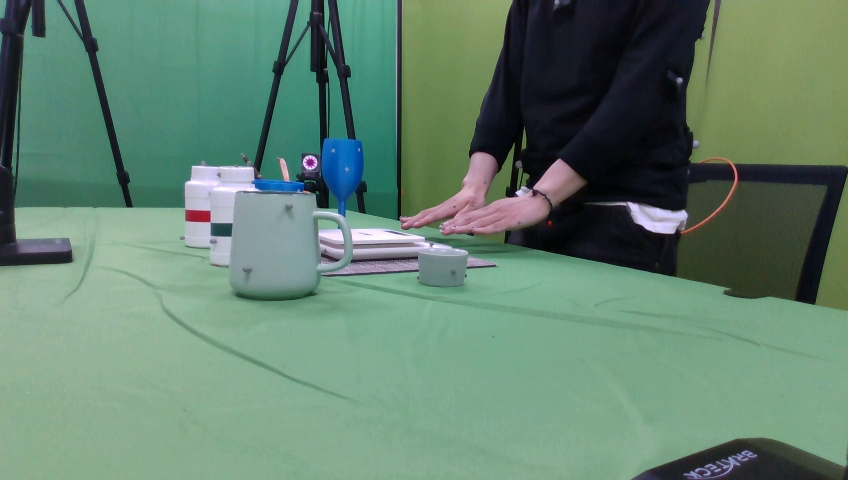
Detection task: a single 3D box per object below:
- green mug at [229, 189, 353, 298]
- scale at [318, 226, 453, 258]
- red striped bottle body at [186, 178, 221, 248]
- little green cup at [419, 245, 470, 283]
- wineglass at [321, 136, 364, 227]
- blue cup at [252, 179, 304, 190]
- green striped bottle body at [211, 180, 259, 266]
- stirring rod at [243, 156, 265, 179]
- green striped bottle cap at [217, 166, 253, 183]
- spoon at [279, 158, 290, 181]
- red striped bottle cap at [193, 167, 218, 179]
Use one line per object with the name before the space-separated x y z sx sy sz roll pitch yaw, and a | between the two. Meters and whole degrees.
green mug | -0.135 0.002 0.618 0.125 0.105 0.092 2 7 4
scale | -0.067 0.001 0.906 0.202 0.031 0.148 -2 8 -31
red striped bottle body | -0.331 -0.050 0.927 0.063 0.119 0.063 2 7 0
little green cup | 0.023 0.028 0.713 0.061 0.038 0.061 2 6 0
wineglass | -0.138 -0.086 1.020 0.074 0.172 0.073 2 7 0
blue cup | -0.230 -0.041 0.929 0.093 0.100 0.092 4 7 0
green striped bottle body | -0.243 -0.029 0.784 0.063 0.119 0.063 2 7 0
stirring rod | -0.304 -0.099 1.201 0.006 0.177 0.014 -26 37 8
green striped bottle cap | -0.242 -0.085 0.777 0.044 0.020 0.044 2 9 0
spoon | -0.281 -0.103 1.251 0.042 0.193 0.021 7 -40 -30
red striped bottle cap | -0.329 -0.102 0.921 0.044 0.017 0.044 0 9 0
